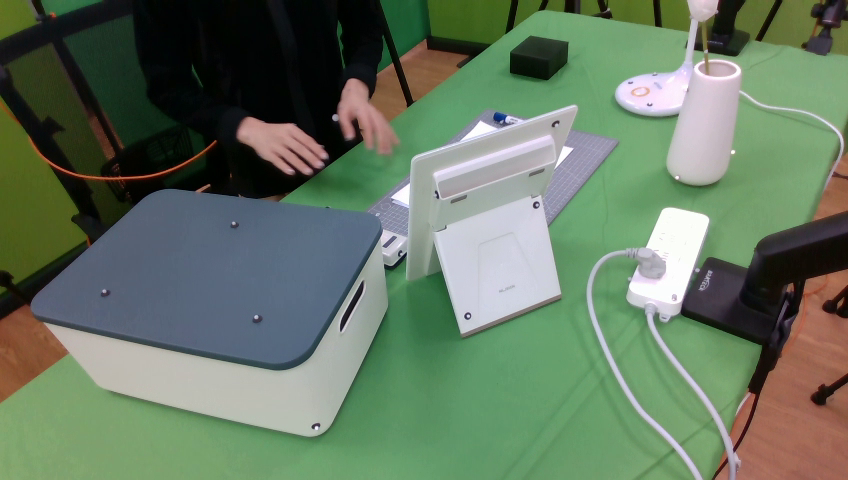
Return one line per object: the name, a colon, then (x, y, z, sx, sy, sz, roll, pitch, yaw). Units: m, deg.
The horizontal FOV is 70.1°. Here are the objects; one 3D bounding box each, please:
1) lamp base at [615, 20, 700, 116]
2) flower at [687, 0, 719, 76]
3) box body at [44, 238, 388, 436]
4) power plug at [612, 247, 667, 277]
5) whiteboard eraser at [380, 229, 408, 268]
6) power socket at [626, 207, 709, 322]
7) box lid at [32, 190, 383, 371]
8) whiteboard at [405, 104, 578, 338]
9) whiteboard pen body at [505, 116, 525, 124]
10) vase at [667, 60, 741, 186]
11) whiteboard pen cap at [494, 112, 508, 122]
lamp base: (0.484, -0.364, 1.211, 0.180, 0.181, 0.159, -15, 41, -14)
flower: (0.436, -0.242, 0.934, 0.038, 0.364, 0.043, -24, 49, 8)
box body: (-0.251, 0.088, 0.799, 0.362, 0.161, 0.254, 7, 42, 16)
power plug: (0.306, 0.031, 0.852, 0.072, 0.053, 0.035, 21, 48, 37)
whiteboard eraser: (-0.081, 0.007, 0.963, 0.112, 0.042, 0.056, 19, 48, 27)
power socket: (0.360, 0.026, 0.886, 0.072, 0.033, 0.227, 17, 46, 27)
box lid: (-0.257, 0.032, 0.750, 0.370, 0.015, 0.263, 7, 41, 16)
whiteboard: (0.103, 0.003, 0.786, 0.218, 0.306, 0.143, -19, 62, -14)
whiteboard pen body: (0.203, -0.232, 1.213, 0.139, 0.017, 0.017, 28, 51, 36)
vase: (0.463, -0.189, 0.994, 0.098, 0.201, 0.097, -4, 40, 4)
whiteboard pen cap: (0.161, -0.253, 1.248, 0.033, 0.018, 0.018, 27, 51, 36)
